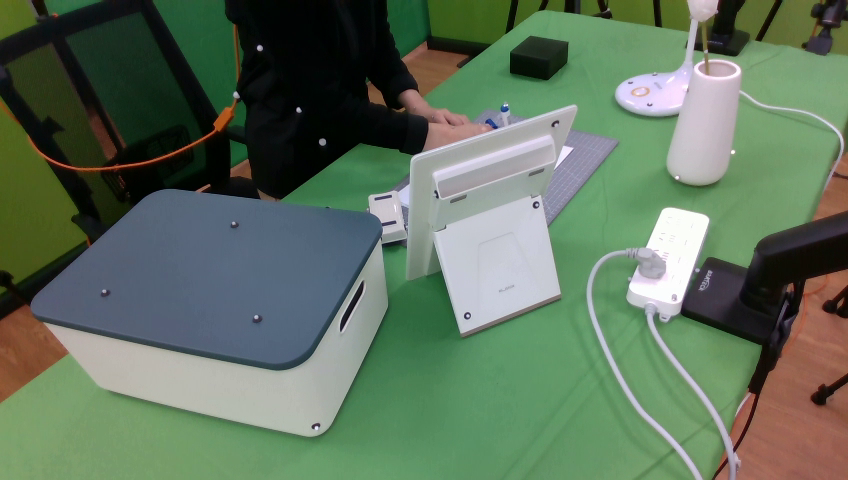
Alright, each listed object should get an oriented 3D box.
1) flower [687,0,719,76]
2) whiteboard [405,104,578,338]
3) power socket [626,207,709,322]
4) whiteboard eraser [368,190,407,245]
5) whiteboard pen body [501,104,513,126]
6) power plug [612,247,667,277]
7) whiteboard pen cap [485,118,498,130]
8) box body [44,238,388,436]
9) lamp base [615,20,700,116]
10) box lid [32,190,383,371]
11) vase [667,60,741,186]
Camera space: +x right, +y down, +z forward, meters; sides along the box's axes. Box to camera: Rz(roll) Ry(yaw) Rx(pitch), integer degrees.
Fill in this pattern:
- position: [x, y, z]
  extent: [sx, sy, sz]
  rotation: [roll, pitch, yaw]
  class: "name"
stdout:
- position: [0.436, -0.242, 0.934]
  extent: [0.038, 0.364, 0.043]
  rotation: [-24, 49, 9]
  class: "flower"
- position: [0.102, 0.003, 0.787]
  extent: [0.218, 0.306, 0.143]
  rotation: [-19, 62, -13]
  class: "whiteboard"
- position: [0.360, 0.026, 0.886]
  extent: [0.072, 0.033, 0.227]
  rotation: [17, 46, 27]
  class: "power socket"
- position: [-0.061, -0.035, 1.006]
  extent: [0.056, 0.042, 0.112]
  rotation: [-9, 40, -3]
  class: "whiteboard eraser"
- position: [0.156, -0.187, 1.080]
  extent: [0.017, 0.142, 0.017]
  rotation: [-9, 53, 13]
  class: "whiteboard pen body"
- position: [0.306, 0.031, 0.852]
  extent: [0.072, 0.053, 0.035]
  rotation: [21, 48, 37]
  class: "power plug"
- position: [0.138, -0.232, 1.229]
  extent: [0.018, 0.018, 0.033]
  rotation: [-16, 43, -10]
  class: "whiteboard pen cap"
- position: [-0.251, 0.088, 0.799]
  extent: [0.362, 0.161, 0.254]
  rotation: [7, 42, 16]
  class: "box body"
- position: [0.484, -0.364, 1.211]
  extent: [0.180, 0.181, 0.159]
  rotation: [-15, 41, -14]
  class: "lamp base"
- position: [-0.257, 0.032, 0.750]
  extent: [0.370, 0.015, 0.263]
  rotation: [7, 42, 16]
  class: "box lid"
- position: [0.463, -0.189, 0.995]
  extent: [0.098, 0.201, 0.097]
  rotation: [-4, 40, 3]
  class: "vase"
